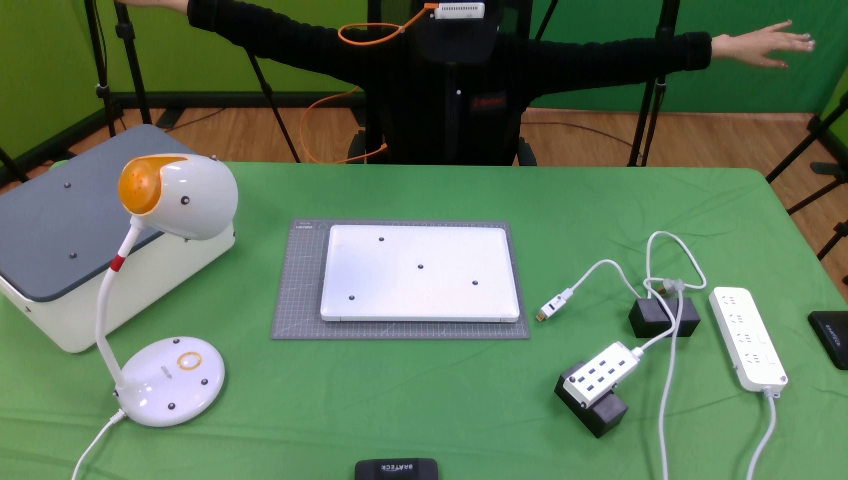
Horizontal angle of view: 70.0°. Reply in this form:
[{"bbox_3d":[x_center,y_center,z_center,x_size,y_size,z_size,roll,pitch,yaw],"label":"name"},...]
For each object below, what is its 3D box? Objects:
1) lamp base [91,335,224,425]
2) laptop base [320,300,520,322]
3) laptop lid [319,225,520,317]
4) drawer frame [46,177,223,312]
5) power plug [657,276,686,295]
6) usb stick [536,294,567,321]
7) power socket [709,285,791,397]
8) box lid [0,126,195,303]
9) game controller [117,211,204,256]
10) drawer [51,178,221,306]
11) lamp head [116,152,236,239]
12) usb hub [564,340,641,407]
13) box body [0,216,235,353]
[{"bbox_3d":[-0.401,0.171,0.892,0.160,0.181,0.179,30,53,23],"label":"lamp base"},{"bbox_3d":[-0.009,0.062,1.138,0.354,0.023,0.234,1,42,-3],"label":"laptop base"},{"bbox_3d":[-0.008,0.052,1.131,0.357,0.013,0.240,2,43,-2],"label":"laptop lid"},{"bbox_3d":[-0.519,0.001,1.106,0.201,0.083,0.213,26,51,21],"label":"drawer frame"},{"bbox_3d":[0.450,0.087,1.113,0.073,0.052,0.035,-13,72,-55],"label":"power plug"},{"bbox_3d":[0.226,0.123,1.083,0.059,0.027,0.021,-37,78,-8],"label":"usb stick"},{"bbox_3d":[0.567,0.168,1.064,0.072,0.033,0.225,2,46,0],"label":"power socket"},{"bbox_3d":[-0.535,-0.064,1.013,0.262,0.015,0.371,31,50,21],"label":"box lid"},{"bbox_3d":[-0.500,-0.018,1.142,0.154,0.051,0.097,24,20,19],"label":"game controller"},{"bbox_3d":[-0.520,-0.001,1.107,0.194,0.073,0.211,26,50,21],"label":"drawer"},{"bbox_3d":[-0.315,-0.057,0.748,0.112,0.112,0.123,26,10,20],"label":"lamp head"},{"bbox_3d":[0.278,0.205,0.944,0.125,0.025,0.049,-27,52,-28],"label":"usb hub"},{"bbox_3d":[-0.550,-0.007,1.068,0.253,0.161,0.363,30,51,23],"label":"box body"}]
